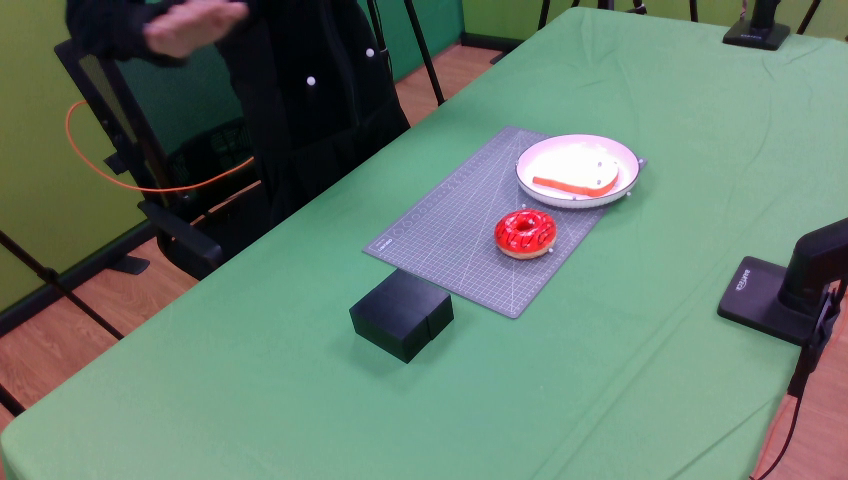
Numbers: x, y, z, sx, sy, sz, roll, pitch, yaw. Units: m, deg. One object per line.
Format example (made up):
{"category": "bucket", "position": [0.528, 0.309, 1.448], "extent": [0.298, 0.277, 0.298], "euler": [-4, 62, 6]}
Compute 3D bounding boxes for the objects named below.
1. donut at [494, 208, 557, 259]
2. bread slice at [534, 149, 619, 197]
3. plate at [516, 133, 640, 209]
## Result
{"category": "donut", "position": [0.159, -0.011, 0.945], "extent": [0.099, 0.048, 0.098], "euler": [-6, 41, 6]}
{"category": "bread slice", "position": [0.274, -0.119, 1.058], "extent": [0.130, 0.019, 0.105], "euler": [19, 48, 30]}
{"category": "plate", "position": [0.266, -0.117, 1.054], "extent": [0.209, 0.038, 0.208], "euler": [-5, 40, 5]}
